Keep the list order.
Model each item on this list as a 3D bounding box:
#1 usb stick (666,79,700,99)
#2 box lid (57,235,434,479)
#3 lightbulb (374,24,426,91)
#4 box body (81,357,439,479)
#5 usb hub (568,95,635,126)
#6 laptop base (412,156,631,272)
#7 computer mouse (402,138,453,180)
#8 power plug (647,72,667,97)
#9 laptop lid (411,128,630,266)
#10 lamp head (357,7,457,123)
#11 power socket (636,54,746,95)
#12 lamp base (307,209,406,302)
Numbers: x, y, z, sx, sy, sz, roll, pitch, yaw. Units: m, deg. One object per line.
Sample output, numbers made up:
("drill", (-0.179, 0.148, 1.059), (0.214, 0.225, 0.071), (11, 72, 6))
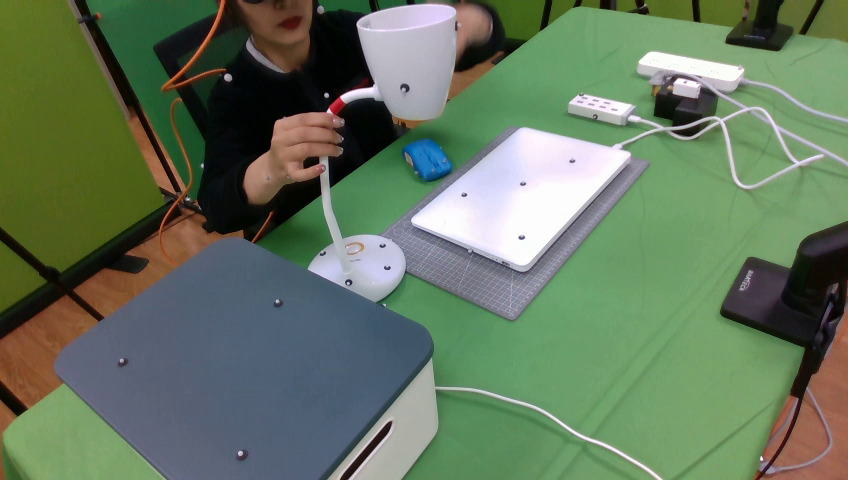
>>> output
("usb stick", (0.492, -0.288, 1.152), (0.058, 0.027, 0.021), (20, 50, 34))
("box lid", (-0.198, 0.123, 0.653), (0.368, 0.015, 0.264), (22, 49, 32))
("lightbulb", (-0.040, -0.265, 0.888), (0.060, 0.107, 0.059), (30, 26, -16))
("box body", (-0.189, 0.178, 0.702), (0.361, 0.161, 0.255), (22, 49, 32))
("usb hub", (0.360, -0.263, 1.228), (0.124, 0.025, 0.049), (24, 49, 34))
("laptop base", (0.176, -0.083, 1.055), (0.233, 0.023, 0.355), (21, 48, 36))
("computer mouse", (0.006, -0.159, 1.165), (0.063, 0.041, 0.116), (-21, 45, -16))
("power plug", (0.494, -0.320, 1.260), (0.073, 0.052, 0.035), (1, 19, -41))
("laptop lid", (0.172, -0.093, 1.049), (0.239, 0.013, 0.358), (23, 50, 36))
("lamp head", (-0.018, -0.198, 0.700), (0.112, 0.123, 0.112), (-1, 33, 1))
("power socket", (0.564, -0.357, 1.293), (0.225, 0.033, 0.072), (24, 51, 33))
("lamp base", (-0.116, -0.003, 0.889), (0.161, 0.181, 0.178), (-15, 43, -5))
